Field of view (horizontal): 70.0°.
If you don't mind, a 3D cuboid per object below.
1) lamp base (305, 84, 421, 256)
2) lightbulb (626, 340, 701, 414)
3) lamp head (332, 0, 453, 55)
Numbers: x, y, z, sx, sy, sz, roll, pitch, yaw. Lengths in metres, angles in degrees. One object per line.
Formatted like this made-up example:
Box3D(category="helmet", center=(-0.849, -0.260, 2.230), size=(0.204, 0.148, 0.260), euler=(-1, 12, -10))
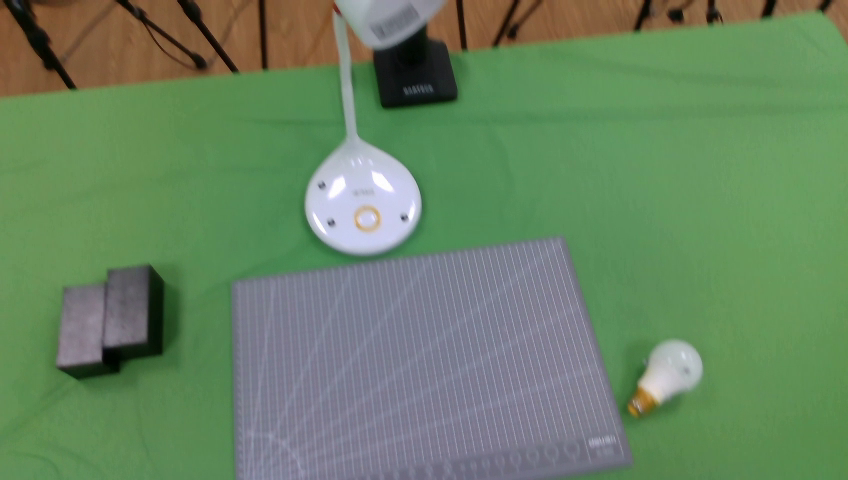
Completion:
Box3D(category="lamp base", center=(-0.086, -0.096, 0.776), size=(0.161, 0.181, 0.177), euler=(-15, 61, -10))
Box3D(category="lightbulb", center=(0.284, 0.168, 0.728), size=(0.107, 0.060, 0.059), euler=(-44, 71, -5))
Box3D(category="lamp head", center=(-0.041, -0.229, 0.491), size=(0.112, 0.113, 0.122), euler=(-37, 79, -20))
